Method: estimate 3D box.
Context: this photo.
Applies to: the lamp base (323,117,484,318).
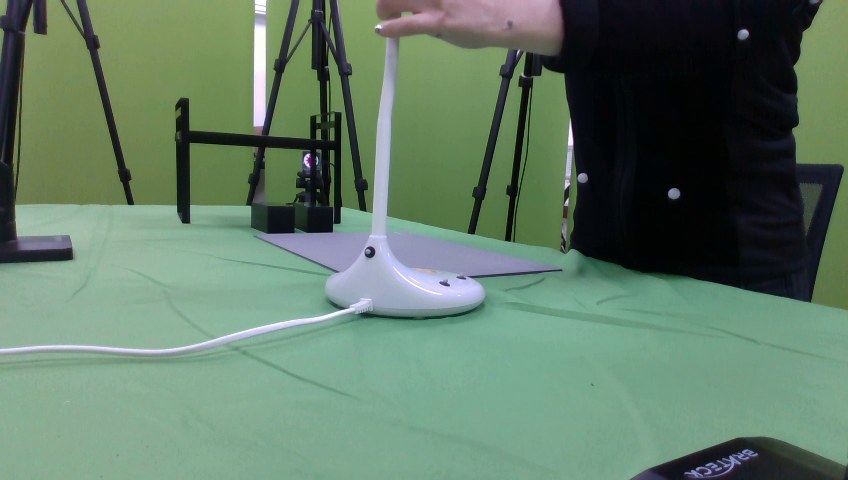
[{"bbox_3d":[-0.021,-0.025,0.583,0.160,0.180,0.179,5,10,17],"label":"lamp base"}]
